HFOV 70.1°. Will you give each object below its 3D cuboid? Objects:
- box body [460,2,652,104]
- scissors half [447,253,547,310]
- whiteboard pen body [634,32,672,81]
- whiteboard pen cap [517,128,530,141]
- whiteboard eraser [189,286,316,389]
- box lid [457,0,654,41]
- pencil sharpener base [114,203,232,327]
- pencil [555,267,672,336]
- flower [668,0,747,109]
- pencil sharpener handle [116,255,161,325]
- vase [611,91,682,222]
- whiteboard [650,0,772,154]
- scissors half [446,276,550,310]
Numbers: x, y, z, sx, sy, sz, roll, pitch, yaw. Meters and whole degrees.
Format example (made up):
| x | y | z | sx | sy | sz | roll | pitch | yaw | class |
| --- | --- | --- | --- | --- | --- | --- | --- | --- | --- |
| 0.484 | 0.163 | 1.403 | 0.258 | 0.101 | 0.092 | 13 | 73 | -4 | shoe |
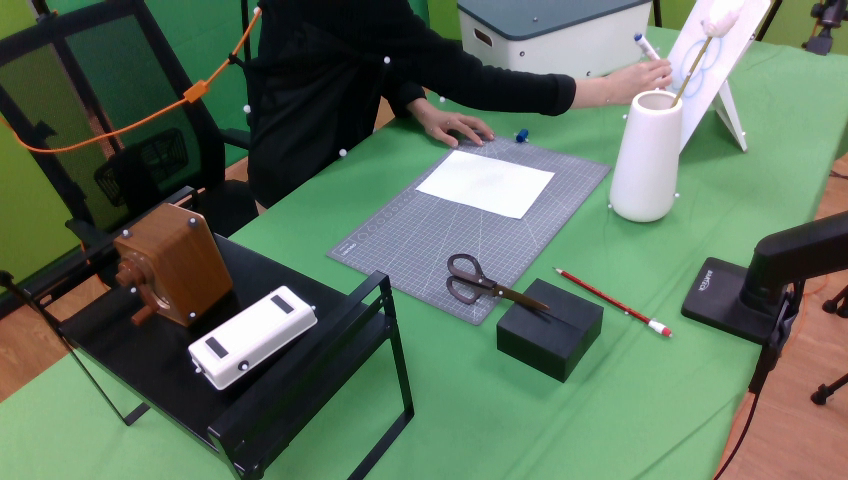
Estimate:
| x | y | z | sx | sy | sz | roll | pitch | yaw | class |
| --- | --- | --- | --- | --- | --- | --- | --- | --- | --- |
| 0.291 | -0.465 | 1.371 | 0.365 | 0.161 | 0.252 | -22 | 42 | -16 | box body |
| 0.098 | 0.058 | 0.821 | 0.173 | 0.040 | 0.013 | 27 | 33 | 36 | scissors half |
| 0.417 | -0.327 | 1.090 | 0.017 | 0.142 | 0.017 | -27 | 48 | 35 | whiteboard pen body |
| 0.195 | -0.207 | 1.192 | 0.018 | 0.018 | 0.033 | 14 | 40 | 23 | whiteboard pen cap |
| -0.166 | 0.096 | 0.593 | 0.113 | 0.042 | 0.055 | -36 | 46 | -29 | whiteboard eraser |
| 0.285 | -0.522 | 1.323 | 0.373 | 0.015 | 0.261 | -22 | 43 | -16 | box lid |
| -0.261 | 0.029 | 0.635 | 0.061 | 0.107 | 0.077 | 18 | 47 | 27 | pencil sharpener base |
| 0.261 | 0.082 | 0.851 | 0.012 | 0.012 | 0.192 | -33 | 45 | -27 | pencil |
| 0.354 | -0.187 | 0.879 | 0.038 | 0.362 | 0.044 | 31 | 48 | 14 | flower |
| -0.286 | 0.050 | 0.594 | 0.035 | 0.068 | 0.031 | 7 | 41 | 35 | pencil sharpener handle |
| 0.348 | -0.125 | 0.935 | 0.098 | 0.201 | 0.097 | -3 | 40 | 3 | vase |
| 0.543 | -0.298 | 1.076 | 0.144 | 0.305 | 0.216 | 12 | 40 | -7 | whiteboard |
| 0.098 | 0.077 | 0.827 | 0.174 | 0.040 | 0.013 | 6 | 14 | 44 | scissors half |
